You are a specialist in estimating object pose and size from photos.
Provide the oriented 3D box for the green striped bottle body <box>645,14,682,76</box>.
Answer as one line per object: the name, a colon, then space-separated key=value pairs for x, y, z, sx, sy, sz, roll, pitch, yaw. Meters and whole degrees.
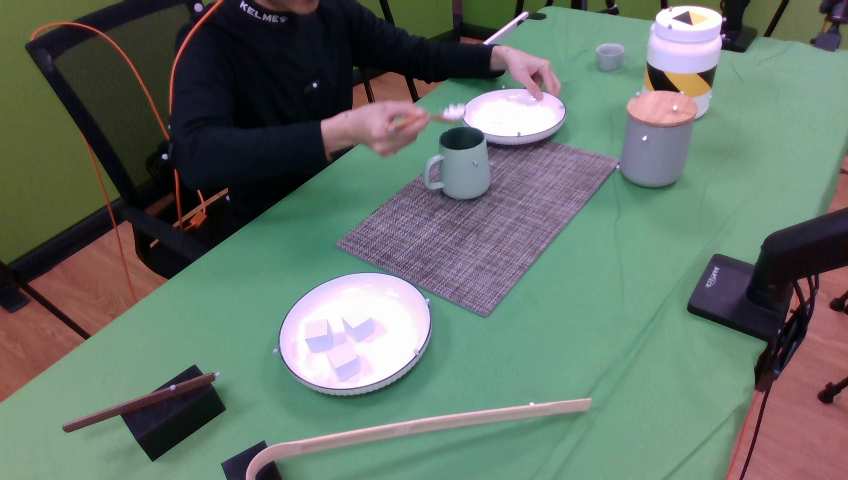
green striped bottle body: x=0.520 y=-0.424 z=1.312 sx=0.063 sy=0.120 sz=0.063 roll=-4 pitch=41 yaw=4

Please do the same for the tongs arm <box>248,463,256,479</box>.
tongs arm: x=0.012 y=0.262 z=0.615 sx=0.385 sy=0.026 sz=0.050 roll=3 pitch=42 yaw=-2

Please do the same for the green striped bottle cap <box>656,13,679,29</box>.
green striped bottle cap: x=0.515 y=-0.463 z=1.278 sx=0.044 sy=0.020 sz=0.044 roll=-6 pitch=42 yaw=6

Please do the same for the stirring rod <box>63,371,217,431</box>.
stirring rod: x=-0.337 y=0.192 z=0.723 sx=0.177 sy=0.014 sz=0.005 roll=-18 pitch=43 yaw=-12

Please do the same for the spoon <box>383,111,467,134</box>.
spoon: x=0.003 y=-0.183 z=0.937 sx=0.041 sy=0.021 sz=0.195 roll=22 pitch=26 yaw=33

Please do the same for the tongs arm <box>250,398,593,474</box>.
tongs arm: x=0.008 y=0.212 z=0.675 sx=0.389 sy=0.028 sz=0.028 roll=-5 pitch=46 yaw=-11

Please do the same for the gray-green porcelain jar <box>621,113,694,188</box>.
gray-green porcelain jar: x=0.390 y=-0.161 z=1.020 sx=0.106 sy=0.127 sz=0.105 roll=-4 pitch=41 yaw=4

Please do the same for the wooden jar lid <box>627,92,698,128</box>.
wooden jar lid: x=0.384 y=-0.207 z=0.980 sx=0.108 sy=0.021 sz=0.108 roll=-6 pitch=39 yaw=5

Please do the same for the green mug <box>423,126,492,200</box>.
green mug: x=0.055 y=-0.125 z=1.039 sx=0.126 sy=0.105 sz=0.091 roll=-25 pitch=43 yaw=-19

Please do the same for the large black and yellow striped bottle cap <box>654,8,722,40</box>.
large black and yellow striped bottle cap: x=0.483 y=-0.397 z=1.108 sx=0.115 sy=0.019 sz=0.114 roll=-3 pitch=41 yaw=3

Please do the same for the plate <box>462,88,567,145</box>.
plate: x=0.180 y=-0.244 z=1.211 sx=0.209 sy=0.038 sz=0.208 roll=-3 pitch=39 yaw=3

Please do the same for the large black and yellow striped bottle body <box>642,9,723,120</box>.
large black and yellow striped bottle body: x=0.493 y=-0.334 z=1.161 sx=0.131 sy=0.185 sz=0.130 roll=-4 pitch=41 yaw=4

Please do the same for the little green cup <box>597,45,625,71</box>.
little green cup: x=0.422 y=-0.413 z=1.375 sx=0.061 sy=0.039 sz=0.061 roll=-3 pitch=41 yaw=3

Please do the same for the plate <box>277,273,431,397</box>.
plate: x=-0.091 y=0.129 z=0.821 sx=0.207 sy=0.039 sz=0.206 roll=-4 pitch=40 yaw=4
